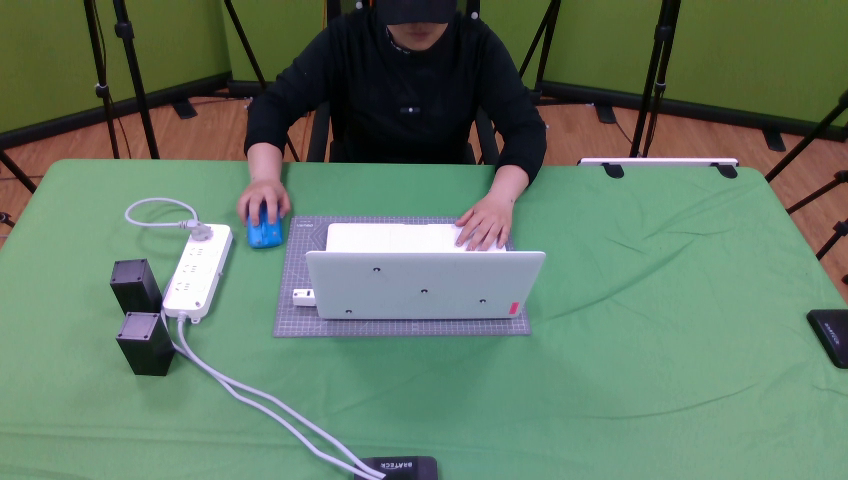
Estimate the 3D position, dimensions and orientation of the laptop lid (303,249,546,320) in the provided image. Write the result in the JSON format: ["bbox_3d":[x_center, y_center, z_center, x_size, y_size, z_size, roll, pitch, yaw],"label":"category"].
[{"bbox_3d":[-0.002,0.077,0.962,0.357,0.242,0.013,1,58,-5],"label":"laptop lid"}]

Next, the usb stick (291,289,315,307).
[{"bbox_3d":[-0.203,0.102,1.066,0.059,0.027,0.021,4,45,-5],"label":"usb stick"}]

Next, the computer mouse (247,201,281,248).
[{"bbox_3d":[-0.317,-0.034,1.196,0.063,0.041,0.116,-4,50,-12],"label":"computer mouse"}]

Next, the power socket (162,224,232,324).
[{"bbox_3d":[-0.410,0.052,1.106,0.072,0.033,0.225,4,45,-1],"label":"power socket"}]

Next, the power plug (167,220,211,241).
[{"bbox_3d":[-0.438,-0.017,1.143,0.072,0.053,0.035,10,43,5],"label":"power plug"}]

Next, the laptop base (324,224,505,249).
[{"bbox_3d":[-0.014,0.055,1.144,0.355,0.023,0.234,0,42,-4],"label":"laptop base"}]
